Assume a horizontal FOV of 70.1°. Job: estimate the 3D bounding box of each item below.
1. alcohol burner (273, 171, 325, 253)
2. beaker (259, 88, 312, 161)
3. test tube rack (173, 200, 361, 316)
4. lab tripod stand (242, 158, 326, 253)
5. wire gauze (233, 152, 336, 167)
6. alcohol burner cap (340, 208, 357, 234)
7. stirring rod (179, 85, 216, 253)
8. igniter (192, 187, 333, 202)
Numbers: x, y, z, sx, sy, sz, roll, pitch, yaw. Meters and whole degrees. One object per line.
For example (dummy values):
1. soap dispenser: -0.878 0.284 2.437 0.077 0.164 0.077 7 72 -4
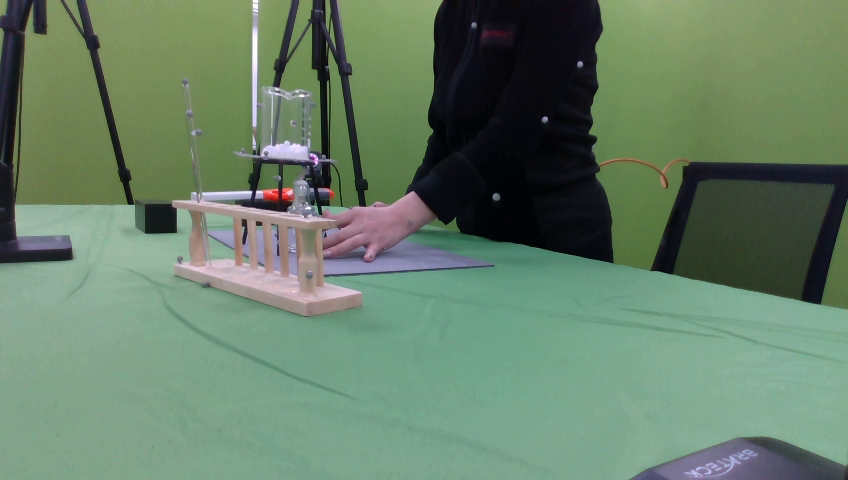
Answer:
1. alcohol burner: -0.182 -0.041 0.883 0.078 0.119 0.078 1 5 0
2. beaker: -0.201 -0.166 0.876 0.074 0.100 0.083 1 7 -18
3. test tube rack: -0.169 0.009 0.622 0.241 0.085 0.067 9 9 41
4. lab tripod stand: -0.207 -0.054 0.895 0.148 0.131 0.148 3 5 0
5. wire gauze: -0.205 -0.118 0.887 0.122 0.011 0.124 2 4 -32
6. alcohol burner cap: -0.142 -0.035 1.136 0.034 0.048 0.034 2 7 0
7. stirring rod: -0.237 -0.073 0.634 0.006 0.176 0.014 0 9 41
8. igniter: -0.316 -0.090 1.213 0.278 0.025 0.057 -5 12 -31
